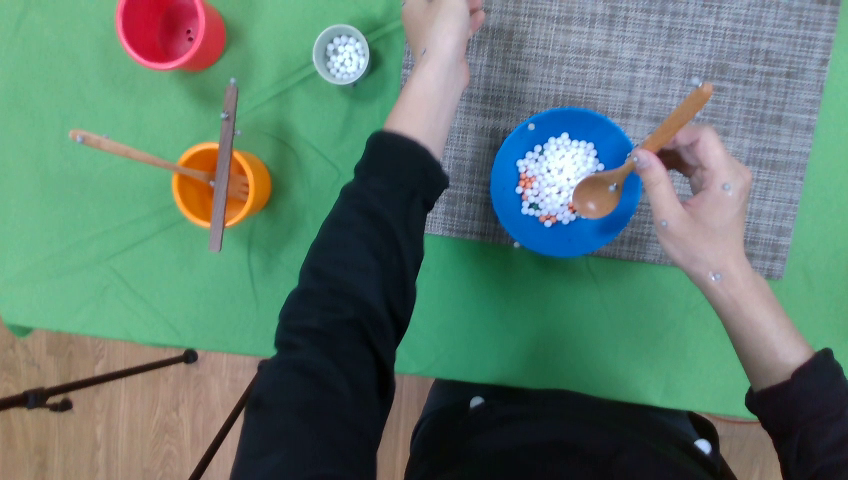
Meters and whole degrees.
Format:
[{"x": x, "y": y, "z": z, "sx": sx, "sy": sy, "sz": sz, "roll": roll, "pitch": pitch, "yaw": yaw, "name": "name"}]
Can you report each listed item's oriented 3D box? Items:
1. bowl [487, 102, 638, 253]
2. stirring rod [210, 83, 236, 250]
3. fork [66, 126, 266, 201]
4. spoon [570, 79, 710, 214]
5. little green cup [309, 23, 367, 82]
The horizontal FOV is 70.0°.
[{"x": 0.142, "y": -0.066, "z": 0.643, "sx": 0.151, "sy": 0.076, "sz": 0.151, "roll": 1, "pitch": 99, "yaw": 5, "name": "bowl"}, {"x": -0.212, "y": -0.076, "z": 0.638, "sx": 0.014, "sy": 0.006, "sz": 0.176, "roll": 9, "pitch": 99, "yaw": 6, "name": "stirring rod"}, {"x": -0.265, "y": -0.080, "z": 0.645, "sx": 0.209, "sy": 0.018, "sz": 0.028, "roll": 18, "pitch": 106, "yaw": -41, "name": "fork"}, {"x": 0.172, "y": -0.069, "z": 0.498, "sx": 0.041, "sy": 0.194, "sz": 0.021, "roll": 41, "pitch": 68, "yaw": 5, "name": "spoon"}, {"x": -0.091, "y": -0.203, "z": 0.666, "sx": 0.061, "sy": 0.038, "sz": 0.061, "roll": 1, "pitch": 99, "yaw": 6, "name": "little green cup"}]
